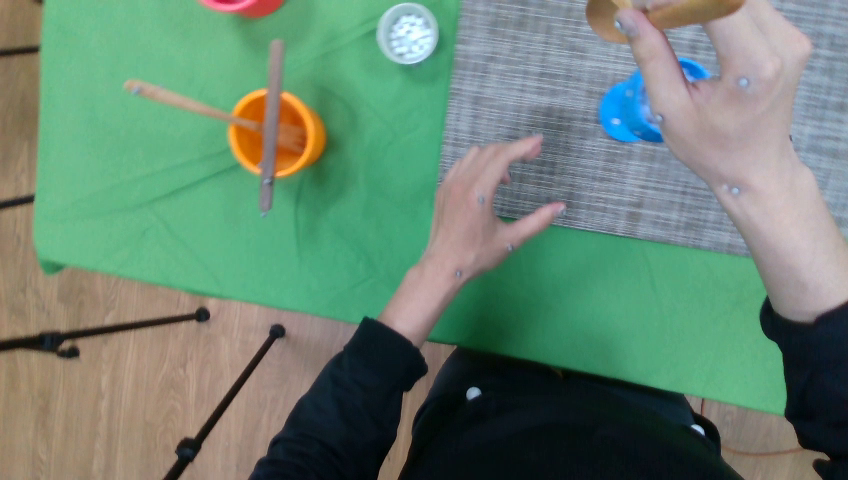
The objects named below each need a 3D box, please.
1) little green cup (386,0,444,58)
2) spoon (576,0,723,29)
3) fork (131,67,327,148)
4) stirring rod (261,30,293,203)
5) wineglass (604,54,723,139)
[{"bbox_3d":[-0.007,-0.226,0.651,0.061,0.038,0.062,1,100,6],"label":"little green cup"},{"bbox_3d":[0.118,-0.129,0.330,0.021,0.192,0.042,-42,105,15],"label":"spoon"},{"bbox_3d":[-0.194,-0.136,0.629,0.209,0.018,0.028,14,111,-41],"label":"fork"},{"bbox_3d":[-0.152,-0.125,0.625,0.014,0.006,0.176,10,100,4],"label":"stirring rod"},{"bbox_3d":[0.219,-0.130,0.572,0.073,0.172,0.074,1,99,6],"label":"wineglass"}]
